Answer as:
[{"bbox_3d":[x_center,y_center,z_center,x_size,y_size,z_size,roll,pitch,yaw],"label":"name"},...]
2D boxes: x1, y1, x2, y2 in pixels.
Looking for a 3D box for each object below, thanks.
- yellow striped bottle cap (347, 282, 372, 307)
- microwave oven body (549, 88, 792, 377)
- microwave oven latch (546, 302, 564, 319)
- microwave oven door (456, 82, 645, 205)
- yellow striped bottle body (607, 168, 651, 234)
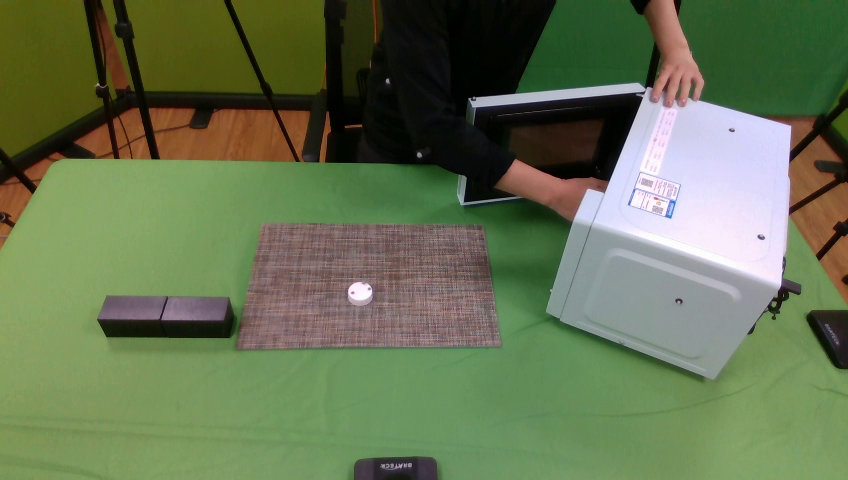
[{"bbox_3d":[-0.117,0.098,1.093,0.044,0.019,0.044,3,45,-3],"label":"yellow striped bottle cap"},{"bbox_3d":[0.456,-0.028,1.088,0.325,0.261,0.440,20,47,16],"label":"microwave oven body"},{"bbox_3d":[0.242,0.102,1.081,0.030,0.029,0.079,21,48,17],"label":"microwave oven latch"},{"bbox_3d":[0.249,-0.193,1.225,0.356,0.245,0.039,-8,47,-11],"label":"microwave oven door"},{"bbox_3d":[0.381,-0.075,1.124,0.063,0.121,0.062,-1,43,1],"label":"yellow striped bottle body"}]
